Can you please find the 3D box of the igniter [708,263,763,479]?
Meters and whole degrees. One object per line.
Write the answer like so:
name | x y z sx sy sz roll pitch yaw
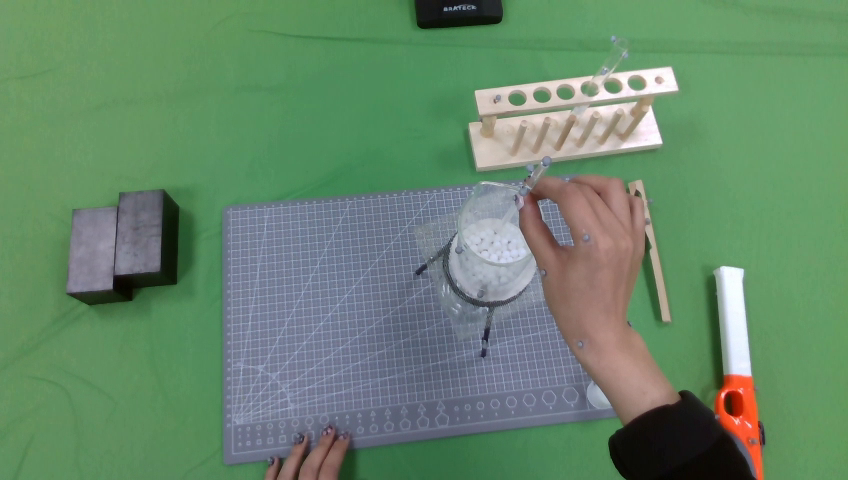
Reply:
igniter | 0.349 0.160 0.683 0.057 0.025 0.275 8 71 -10

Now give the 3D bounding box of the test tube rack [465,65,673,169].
test tube rack | 0.179 -0.151 0.754 0.242 0.085 0.066 -8 71 -5

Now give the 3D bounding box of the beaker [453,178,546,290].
beaker | 0.061 -0.001 0.549 0.074 0.101 0.083 -20 72 -7

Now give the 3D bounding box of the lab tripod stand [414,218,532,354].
lab tripod stand | 0.056 0.041 0.654 0.148 0.132 0.147 0 71 0

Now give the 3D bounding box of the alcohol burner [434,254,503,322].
alcohol burner | 0.050 0.047 0.663 0.078 0.120 0.077 0 69 -1

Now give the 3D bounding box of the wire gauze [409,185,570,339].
wire gauze | 0.062 0.017 0.593 0.121 0.011 0.124 -22 74 -6

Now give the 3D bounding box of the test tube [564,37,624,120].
test tube | 0.197 -0.185 0.714 0.017 0.151 0.017 3 69 -7

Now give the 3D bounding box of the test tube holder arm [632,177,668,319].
test tube holder arm | 0.273 0.008 0.737 0.013 0.015 0.177 -16 70 27

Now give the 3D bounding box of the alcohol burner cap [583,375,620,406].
alcohol burner cap | 0.197 0.163 0.665 0.034 0.048 0.033 1 70 -2

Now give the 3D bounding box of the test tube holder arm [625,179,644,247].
test tube holder arm | 0.264 -0.034 0.753 0.010 0.015 0.087 -15 70 27

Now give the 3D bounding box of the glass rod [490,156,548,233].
glass rod | 0.074 -0.032 0.502 0.008 0.200 0.008 1 77 -3
